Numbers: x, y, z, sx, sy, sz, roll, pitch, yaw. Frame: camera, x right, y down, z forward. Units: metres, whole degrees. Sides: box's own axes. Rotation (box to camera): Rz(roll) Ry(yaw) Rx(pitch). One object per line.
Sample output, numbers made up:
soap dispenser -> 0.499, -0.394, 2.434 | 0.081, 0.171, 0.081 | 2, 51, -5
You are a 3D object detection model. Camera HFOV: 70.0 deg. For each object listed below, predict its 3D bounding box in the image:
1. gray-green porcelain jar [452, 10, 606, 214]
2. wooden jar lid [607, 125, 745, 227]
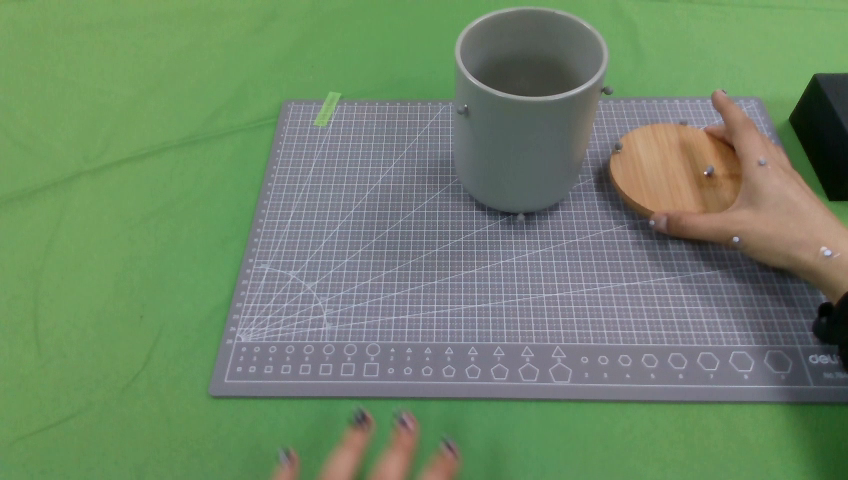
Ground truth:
gray-green porcelain jar -> 0.074, -0.091, 0.466 | 0.106, 0.127, 0.105 | -1, 53, 1
wooden jar lid -> 0.204, -0.051, 0.499 | 0.108, 0.021, 0.107 | -1, 52, 2
